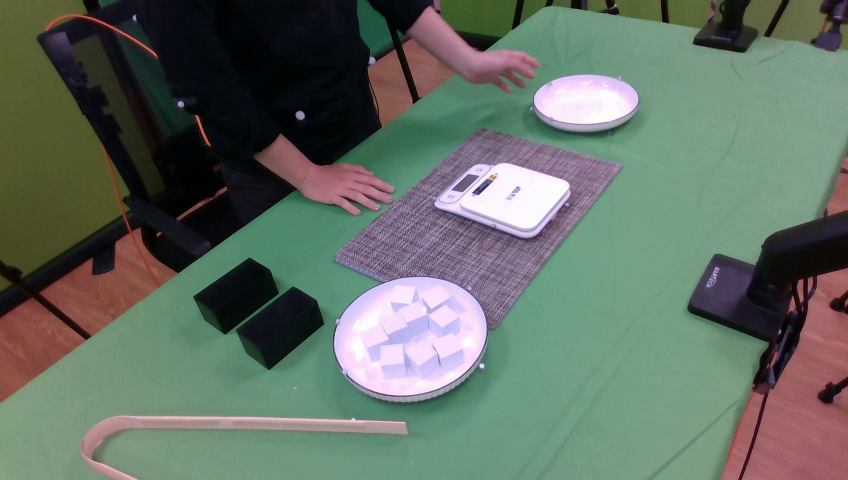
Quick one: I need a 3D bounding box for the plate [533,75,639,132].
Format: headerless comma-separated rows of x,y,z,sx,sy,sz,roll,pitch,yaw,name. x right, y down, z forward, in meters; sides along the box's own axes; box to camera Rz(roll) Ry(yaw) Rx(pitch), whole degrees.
0.327,-0.272,1.228,0.209,0.038,0.208,-4,40,4,plate

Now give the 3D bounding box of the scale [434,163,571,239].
0.132,-0.075,1.025,0.199,0.032,0.149,22,48,30,scale

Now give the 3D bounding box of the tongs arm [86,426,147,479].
-0.232,0.280,0.665,0.383,0.026,0.051,9,42,20,tongs arm

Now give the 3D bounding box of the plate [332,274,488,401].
-0.017,0.130,0.808,0.207,0.039,0.206,-4,41,4,plate

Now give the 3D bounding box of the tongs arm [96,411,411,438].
-0.208,0.226,0.731,0.387,0.028,0.028,-1,43,7,tongs arm
